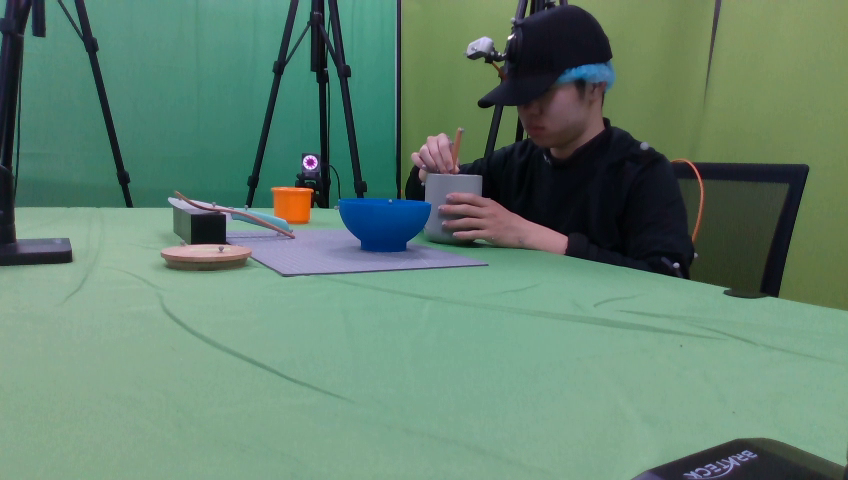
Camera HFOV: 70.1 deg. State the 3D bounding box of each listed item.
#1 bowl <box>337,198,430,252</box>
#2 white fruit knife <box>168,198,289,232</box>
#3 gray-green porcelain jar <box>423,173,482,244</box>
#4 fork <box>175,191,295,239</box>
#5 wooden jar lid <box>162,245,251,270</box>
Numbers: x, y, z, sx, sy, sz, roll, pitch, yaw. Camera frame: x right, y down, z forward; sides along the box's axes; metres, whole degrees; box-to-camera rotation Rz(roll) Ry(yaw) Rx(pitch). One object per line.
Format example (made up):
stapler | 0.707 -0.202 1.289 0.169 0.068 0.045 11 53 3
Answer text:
bowl | -0.066 -0.024 0.967 0.151 0.077 0.151 3 7 0
white fruit knife | -0.329 -0.044 1.036 0.208 0.027 0.016 14 -1 -32
gray-green porcelain jar | 0.052 -0.059 1.116 0.106 0.126 0.106 3 7 0
fork | -0.306 -0.039 0.993 0.208 0.018 0.028 19 -8 -34
wooden jar lid | -0.278 0.022 0.777 0.108 0.020 0.108 2 6 0
